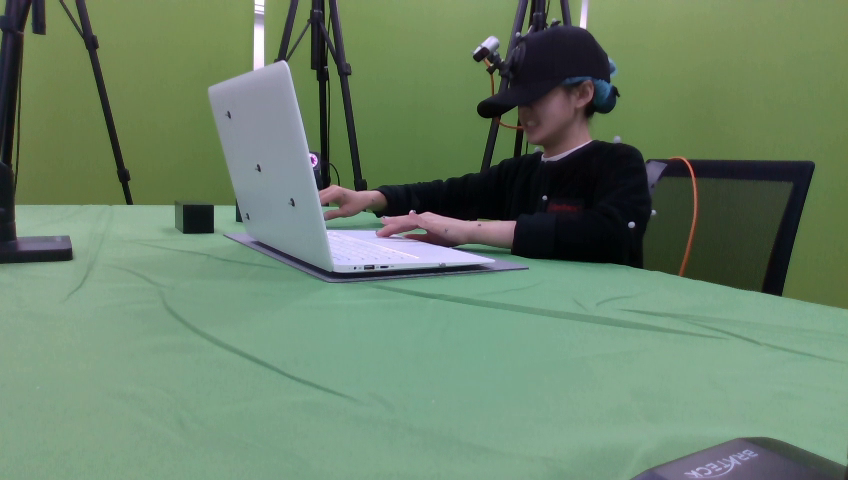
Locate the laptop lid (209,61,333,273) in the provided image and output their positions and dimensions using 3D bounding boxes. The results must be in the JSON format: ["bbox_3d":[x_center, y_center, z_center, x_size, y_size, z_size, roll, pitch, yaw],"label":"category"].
[{"bbox_3d":[-0.213,-0.095,0.790,0.013,0.241,0.355,-18,18,-29],"label":"laptop lid"}]

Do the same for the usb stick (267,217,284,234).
[{"bbox_3d":[-0.263,-0.025,1.079,0.021,0.027,0.059,-1,11,-28],"label":"usb stick"}]

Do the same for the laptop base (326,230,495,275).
[{"bbox_3d":[-0.093,0.015,0.883,0.237,0.023,0.352,3,6,-33],"label":"laptop base"}]
